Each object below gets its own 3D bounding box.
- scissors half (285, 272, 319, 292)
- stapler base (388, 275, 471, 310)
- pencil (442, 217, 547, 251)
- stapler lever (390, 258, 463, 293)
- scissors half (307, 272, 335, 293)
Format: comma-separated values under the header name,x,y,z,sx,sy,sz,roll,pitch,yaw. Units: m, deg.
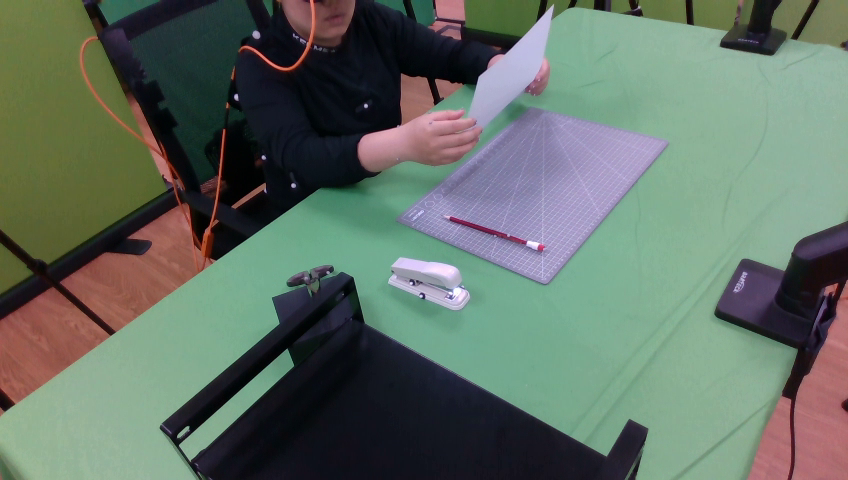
name,x,y,z,sx,sy,sz,roll,pitch,yaw
scissors half,-0.172,0.063,0.868,0.040,0.013,0.174,-9,6,-22
stapler base,0.007,0.066,0.897,0.129,0.024,0.041,17,43,29
pencil,0.110,-0.012,0.979,0.192,0.012,0.012,18,46,30
stapler lever,0.002,0.046,0.881,0.117,0.040,0.027,17,44,29
scissors half,-0.152,0.062,0.872,0.040,0.013,0.175,-2,5,-4
